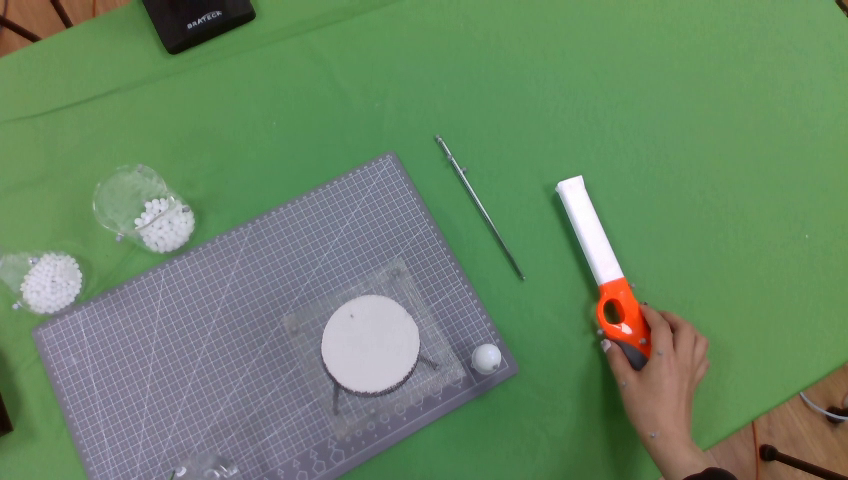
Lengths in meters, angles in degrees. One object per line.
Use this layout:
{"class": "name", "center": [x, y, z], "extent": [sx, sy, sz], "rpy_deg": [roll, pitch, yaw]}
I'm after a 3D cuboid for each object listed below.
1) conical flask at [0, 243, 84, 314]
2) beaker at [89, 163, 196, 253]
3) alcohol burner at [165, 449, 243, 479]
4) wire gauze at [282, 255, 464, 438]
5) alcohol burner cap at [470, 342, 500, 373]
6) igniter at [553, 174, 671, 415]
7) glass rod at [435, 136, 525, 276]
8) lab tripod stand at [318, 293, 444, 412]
{"class": "conical flask", "center": [-0.417, 0.031, 0.625], "extent": [0.075, 0.122, 0.075], "rpy_deg": [0, 74, -1]}
{"class": "beaker", "center": [-0.295, -0.030, 0.655], "extent": [0.084, 0.100, 0.073], "rpy_deg": [7, 75, 1]}
{"class": "alcohol burner", "center": [-0.215, 0.240, 0.573], "extent": [0.078, 0.119, 0.077], "rpy_deg": [0, 76, -1]}
{"class": "wire gauze", "center": [-0.047, 0.092, 0.535], "extent": [0.125, 0.011, 0.121], "rpy_deg": [-27, 78, -6]}
{"class": "alcohol burner cap", "center": [0.066, 0.123, 0.645], "extent": [0.034, 0.048, 0.033], "rpy_deg": [0, 74, 0]}
{"class": "igniter", "center": [0.208, 0.055, 0.674], "extent": [0.057, 0.025, 0.275], "rpy_deg": [-18, 76, -6]}
{"class": "glass rod", "center": [0.064, -0.042, 0.709], "extent": [0.008, 0.008, 0.198], "rpy_deg": [-29, 77, -8]}
{"class": "lab tripod stand", "center": [-0.051, 0.113, 0.599], "extent": [0.148, 0.132, 0.147], "rpy_deg": [0, 76, -1]}
